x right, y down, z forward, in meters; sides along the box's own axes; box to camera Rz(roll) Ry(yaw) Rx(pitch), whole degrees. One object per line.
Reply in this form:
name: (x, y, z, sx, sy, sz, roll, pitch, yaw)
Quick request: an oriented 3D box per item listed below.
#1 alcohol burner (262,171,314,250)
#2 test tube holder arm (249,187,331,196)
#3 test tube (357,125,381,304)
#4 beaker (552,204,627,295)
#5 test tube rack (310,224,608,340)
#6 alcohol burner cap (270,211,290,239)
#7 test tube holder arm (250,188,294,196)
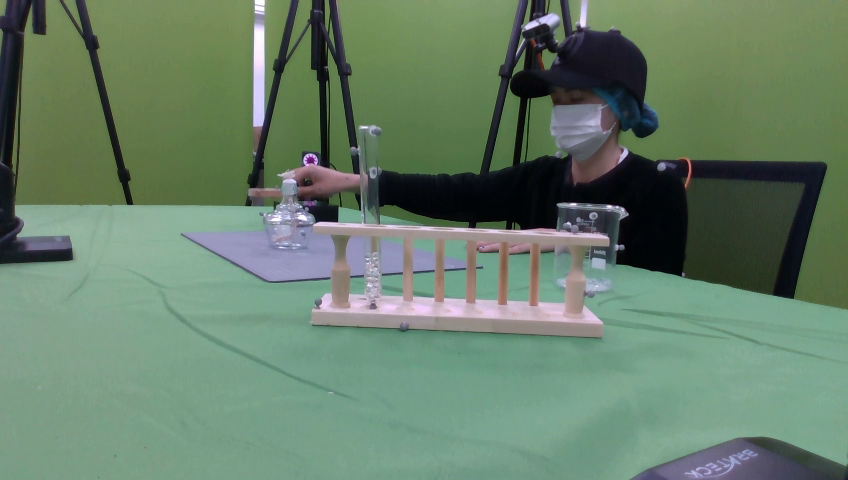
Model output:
alcohol burner: (-0.205, -0.045, 0.913, 0.078, 0.119, 0.078, 1, 9, 0)
test tube holder arm: (-0.261, -0.096, 1.197, 0.179, 0.015, 0.013, -3, 20, -44)
test tube: (-0.045, -0.019, 0.501, 0.017, 0.150, 0.017, -1, 12, 0)
beaker: (0.191, 0.010, 0.708, 0.083, 0.100, 0.074, 8, 9, 33)
test tube rack: (0.028, 0.032, 0.528, 0.242, 0.085, 0.067, 3, 7, 0)
alcohol burner cap: (-0.246, -0.026, 1.035, 0.034, 0.048, 0.034, 2, 8, 0)
test tube holder arm: (-0.290, -0.092, 1.162, 0.088, 0.015, 0.010, -3, 20, -44)
